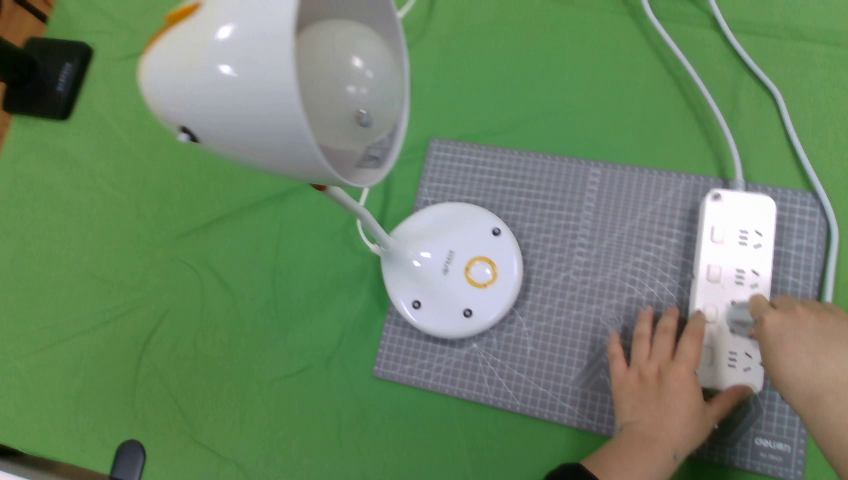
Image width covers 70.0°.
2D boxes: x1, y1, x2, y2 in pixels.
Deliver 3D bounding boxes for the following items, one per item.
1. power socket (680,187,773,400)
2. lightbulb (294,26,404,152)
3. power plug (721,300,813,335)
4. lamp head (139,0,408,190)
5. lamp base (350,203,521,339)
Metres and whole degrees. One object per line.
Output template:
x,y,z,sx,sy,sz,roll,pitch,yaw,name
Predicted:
0.315,0.051,0.630,0.072,0.033,0.225,9,77,13,power socket
-0.061,-0.077,0.303,0.107,0.060,0.059,11,77,22,lightbulb
0.332,0.084,0.598,0.072,0.053,0.035,24,81,15,power plug
-0.081,-0.081,0.320,0.122,0.113,0.112,1,74,28,lamp head
0.003,0.011,0.625,0.178,0.181,0.160,4,75,15,lamp base
